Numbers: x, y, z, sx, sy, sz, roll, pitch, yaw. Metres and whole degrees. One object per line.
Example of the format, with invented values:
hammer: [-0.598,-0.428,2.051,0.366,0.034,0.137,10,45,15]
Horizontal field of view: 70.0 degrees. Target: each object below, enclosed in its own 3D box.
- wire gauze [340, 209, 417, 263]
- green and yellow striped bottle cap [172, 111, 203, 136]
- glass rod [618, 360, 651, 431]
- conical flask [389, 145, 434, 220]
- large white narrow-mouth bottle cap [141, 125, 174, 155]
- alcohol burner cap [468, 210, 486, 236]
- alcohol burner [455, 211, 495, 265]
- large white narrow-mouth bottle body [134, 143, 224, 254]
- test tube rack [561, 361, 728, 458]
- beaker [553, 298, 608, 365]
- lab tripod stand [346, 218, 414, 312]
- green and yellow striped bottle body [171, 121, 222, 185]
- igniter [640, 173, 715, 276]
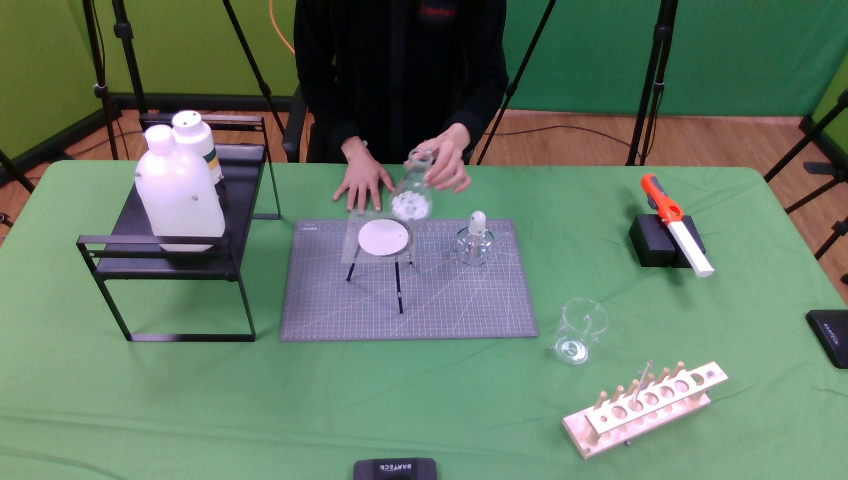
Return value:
wire gauze: [-0.074,-0.006,1.023,0.121,0.011,0.124,3,46,0]
green and yellow striped bottle cap: [-0.374,-0.185,0.958,0.045,0.020,0.045,4,46,-3]
glass rod: [0.298,0.227,0.865,0.008,0.201,0.008,-1,47,2]
conical flask: [-0.012,-0.095,0.977,0.075,0.122,0.075,6,50,-7]
large white narrow-mouth bottle cap: [-0.356,-0.134,0.811,0.038,0.024,0.037,2,48,-2]
alcohol burner cap: [0.099,-0.034,1.119,0.034,0.048,0.033,0,52,0]
alcohol burner: [0.097,-0.010,1.147,0.078,0.120,0.077,1,47,0]
large white narrow-mouth bottle body: [-0.358,-0.075,0.875,0.102,0.195,0.101,1,48,-1]
test tube rack: [0.341,0.248,0.940,0.243,0.085,0.066,-15,49,-18]
beaker: [0.260,0.154,1.015,0.073,0.101,0.084,37,54,27]
lab tripod stand: [-0.070,0.037,1.075,0.148,0.132,0.147,1,47,-1]
green and yellow striped bottle body: [-0.375,-0.149,0.995,0.063,0.120,0.063,2,46,-2]
igniter: [0.495,-0.039,1.204,0.057,0.025,0.274,-2,47,-12]
